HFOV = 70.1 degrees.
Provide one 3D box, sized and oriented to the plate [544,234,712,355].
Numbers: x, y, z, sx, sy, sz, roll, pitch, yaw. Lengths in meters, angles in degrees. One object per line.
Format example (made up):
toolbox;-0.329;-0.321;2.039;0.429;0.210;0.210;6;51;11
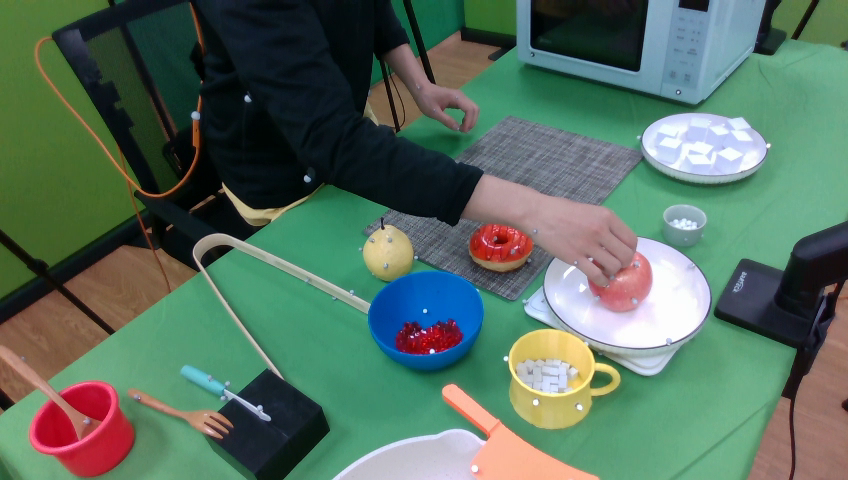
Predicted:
plate;0.262;0.072;0.792;0.209;0.038;0.208;-4;41;4

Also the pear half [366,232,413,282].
pear half;-0.048;0.031;0.893;0.071;0.088;0.031;-16;40;-14

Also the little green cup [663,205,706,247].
little green cup;0.396;-0.020;0.926;0.061;0.039;0.061;-4;40;4

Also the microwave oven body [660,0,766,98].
microwave oven body;0.472;-0.513;1.317;0.438;0.261;0.327;26;51;34

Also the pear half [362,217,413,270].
pear half;-0.059;0.002;0.913;0.076;0.110;0.055;-14;40;-13

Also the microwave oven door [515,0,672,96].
microwave oven door;0.343;-0.454;1.259;0.353;0.245;0.039;26;51;33

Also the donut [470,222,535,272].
donut;0.119;0.009;0.923;0.099;0.048;0.098;-3;38;3

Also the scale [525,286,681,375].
scale;0.254;0.091;0.821;0.199;0.032;0.149;27;51;35

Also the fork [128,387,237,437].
fork;-0.305;0.207;0.744;0.206;0.019;0.028;3;41;35

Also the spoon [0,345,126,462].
spoon;-0.434;0.192;0.720;0.194;0.021;0.042;47;53;-6

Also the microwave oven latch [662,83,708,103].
microwave oven latch;0.518;-0.296;1.204;0.078;0.029;0.030;28;52;35

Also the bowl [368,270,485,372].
bowl;0.007;0.119;0.791;0.151;0.077;0.150;-5;40;4

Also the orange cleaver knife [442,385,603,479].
orange cleaver knife;0.086;0.219;0.612;0.209;0.012;0.077;28;49;35

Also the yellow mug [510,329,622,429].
yellow mug;0.169;0.164;0.721;0.130;0.064;0.099;0;40;8

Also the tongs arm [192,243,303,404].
tongs arm;-0.268;0.109;0.883;0.028;0.028;0.384;-35;47;-18

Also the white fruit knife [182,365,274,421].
white fruit knife;-0.245;0.188;0.747;0.205;0.027;0.016;9;41;41

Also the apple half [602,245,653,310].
apple half;0.265;0.046;0.778;0.053;0.075;0.080;-15;36;-7

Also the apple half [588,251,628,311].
apple half;0.228;0.058;0.773;0.033;0.081;0.080;-15;41;-7

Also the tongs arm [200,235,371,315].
tongs arm;-0.208;0.062;0.924;0.381;0.026;0.051;23;53;32

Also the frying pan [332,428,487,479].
frying pan;-0.089;0.306;0.564;0.487;0.103;0.306;9;41;7

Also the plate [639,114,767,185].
plate;0.489;-0.157;1.074;0.207;0.039;0.206;-4;40;4
